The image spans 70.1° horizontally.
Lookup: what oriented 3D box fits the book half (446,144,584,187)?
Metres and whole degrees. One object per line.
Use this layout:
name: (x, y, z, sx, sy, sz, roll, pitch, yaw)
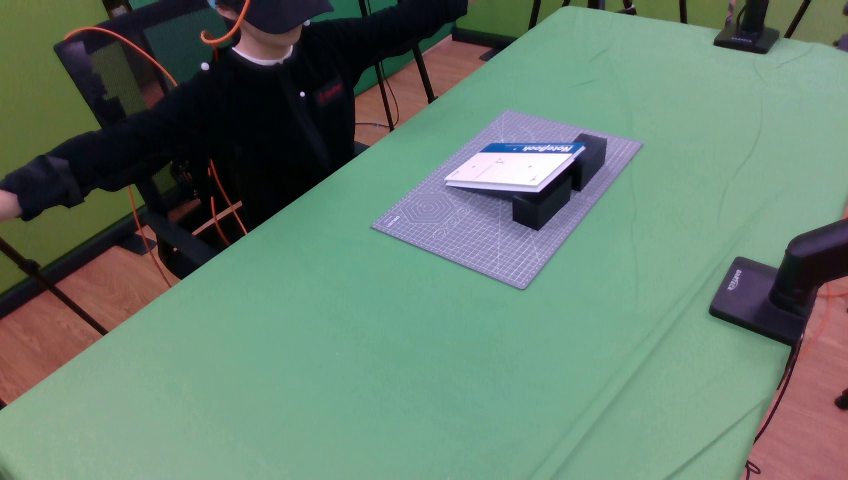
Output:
book half: (0.155, -0.134, 1.056, 0.208, 0.007, 0.143, 10, 40, 46)
